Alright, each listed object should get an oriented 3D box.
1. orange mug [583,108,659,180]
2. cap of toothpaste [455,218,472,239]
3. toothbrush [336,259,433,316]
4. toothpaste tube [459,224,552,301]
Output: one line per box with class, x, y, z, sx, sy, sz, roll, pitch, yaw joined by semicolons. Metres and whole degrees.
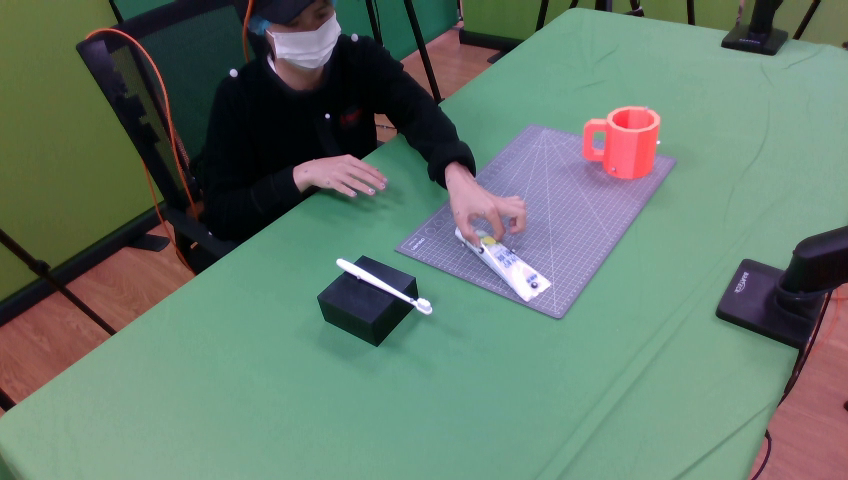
orange mug;0.343;-0.171;1.061;0.126;0.101;0.083;10;43;15
cap of toothpaste;0.064;-0.018;0.949;0.037;0.037;0.011;-33;55;-27
toothbrush;-0.059;0.062;0.840;0.180;0.017;0.014;24;53;33
toothpaste tube;0.113;0.028;0.908;0.055;0.034;0.164;-34;56;-23
